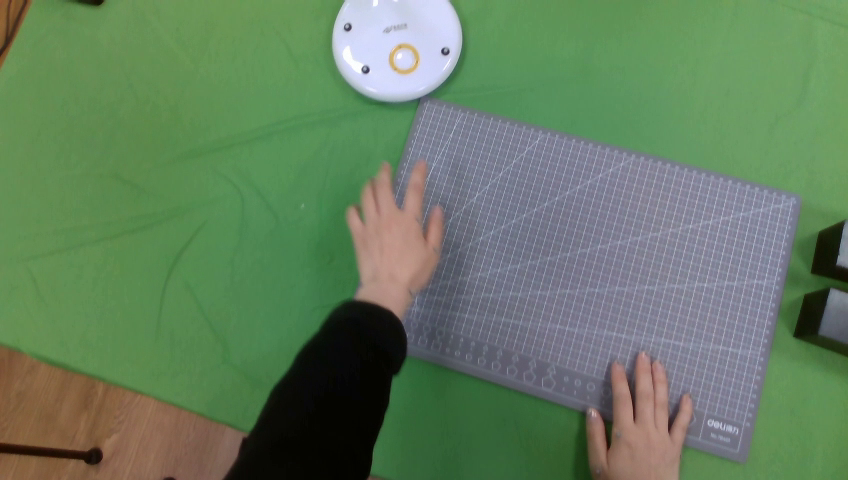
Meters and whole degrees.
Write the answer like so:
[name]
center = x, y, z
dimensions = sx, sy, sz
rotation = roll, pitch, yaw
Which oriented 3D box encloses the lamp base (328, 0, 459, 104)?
[lamp base]
center = -0.049, -0.269, 0.671
dimensions = 0.160, 0.181, 0.178
rotation = -25, 75, -2
